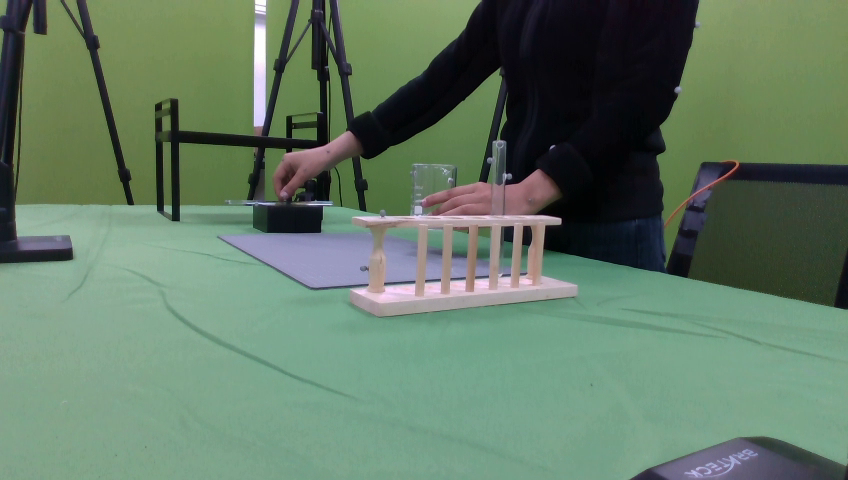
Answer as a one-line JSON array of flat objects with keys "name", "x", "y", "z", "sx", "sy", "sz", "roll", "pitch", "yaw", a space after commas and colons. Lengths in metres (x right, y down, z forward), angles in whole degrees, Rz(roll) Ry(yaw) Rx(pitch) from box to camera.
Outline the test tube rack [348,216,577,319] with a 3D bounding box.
[{"name": "test tube rack", "x": 0.048, "y": 0.021, "z": 0.619, "sx": 0.244, "sy": 0.085, "sz": 0.066, "roll": -2, "pitch": 8, "yaw": -31}]

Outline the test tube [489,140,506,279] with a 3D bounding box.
[{"name": "test tube", "x": 0.079, "y": -0.032, "z": 0.653, "sx": 0.017, "sy": 0.150, "sz": 0.017, "roll": 1, "pitch": 2, "yaw": 0}]

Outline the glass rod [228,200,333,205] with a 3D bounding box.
[{"name": "glass rod", "x": -0.267, "y": -0.071, "z": 1.142, "sx": 0.201, "sy": 0.008, "sz": 0.008, "roll": -1, "pitch": 8, "yaw": -30}]

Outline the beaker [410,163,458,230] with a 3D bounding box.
[{"name": "beaker", "x": 0.016, "y": -0.068, "z": 0.939, "sx": 0.073, "sy": 0.100, "sz": 0.084, "roll": 6, "pitch": 7, "yaw": 30}]
